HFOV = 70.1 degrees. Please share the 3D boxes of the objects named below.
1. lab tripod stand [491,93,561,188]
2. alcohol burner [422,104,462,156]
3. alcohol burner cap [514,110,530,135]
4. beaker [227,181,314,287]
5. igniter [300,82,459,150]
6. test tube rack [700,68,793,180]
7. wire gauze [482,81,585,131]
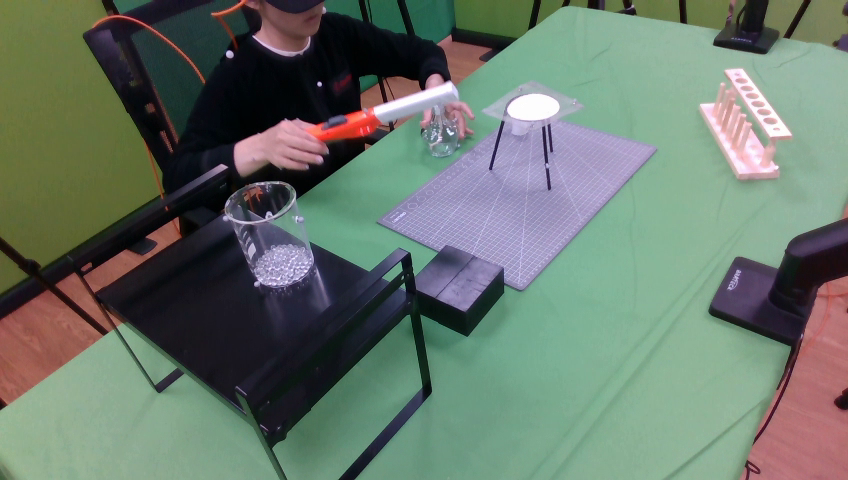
[{"bbox_3d":[0.189,-0.180,1.066,0.148,0.132,0.147,-5,42,5],"label":"lab tripod stand"},{"bbox_3d":[0.033,-0.223,1.160,0.078,0.119,0.077,-4,39,3],"label":"alcohol burner"},{"bbox_3d":[0.194,-0.235,1.200,0.034,0.048,0.033,-5,42,5],"label":"alcohol burner cap"},{"bbox_3d":[-0.166,-0.006,0.670,0.074,0.101,0.083,-8,40,0],"label":"beaker"},{"bbox_3d":[-0.077,-0.188,0.935,0.275,0.057,0.025,-14,68,21],"label":"igniter"},{"bbox_3d":[0.572,-0.215,1.089,0.066,0.085,0.241,-3,41,7],"label":"test tube rack"},{"bbox_3d":[0.183,-0.224,1.015,0.125,0.011,0.120,-32,46,-23],"label":"wire gauze"}]
